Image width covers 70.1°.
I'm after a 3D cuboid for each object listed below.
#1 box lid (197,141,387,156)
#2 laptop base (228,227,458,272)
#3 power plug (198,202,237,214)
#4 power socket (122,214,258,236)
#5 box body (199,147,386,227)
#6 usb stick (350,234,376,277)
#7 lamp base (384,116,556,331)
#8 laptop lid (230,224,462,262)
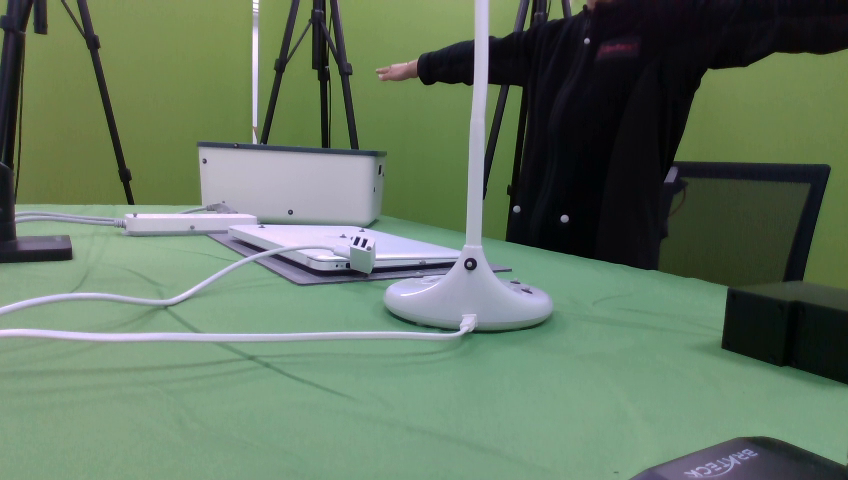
[{"bbox_3d":[-0.275,-0.198,1.325,0.372,0.015,0.263,3,8,1],"label":"box lid"},{"bbox_3d":[-0.122,0.011,0.889,0.237,0.023,0.352,2,6,-35],"label":"laptop base"},{"bbox_3d":[-0.392,-0.046,1.163,0.072,0.052,0.035,-12,3,27],"label":"power plug"},{"bbox_3d":[-0.399,-0.028,1.050,0.228,0.032,0.072,-3,8,-33],"label":"power socket"},{"bbox_3d":[-0.277,-0.124,1.334,0.364,0.160,0.254,3,7,1],"label":"box body"},{"bbox_3d":[-0.069,0.020,0.689,0.027,0.059,0.021,12,53,8],"label":"usb stick"},{"bbox_3d":[0.046,-0.019,0.545,0.161,0.180,0.179,2,10,-4],"label":"lamp base"},{"bbox_3d":[-0.119,0.000,0.889,0.243,0.013,0.355,1,7,-33],"label":"laptop lid"}]
